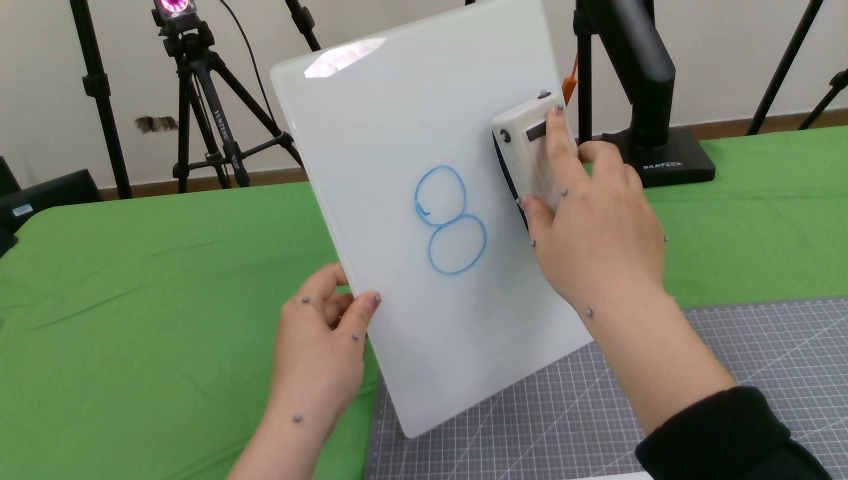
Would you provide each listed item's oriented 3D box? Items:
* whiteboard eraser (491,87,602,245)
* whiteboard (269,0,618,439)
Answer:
[{"bbox_3d":[0.094,-0.056,0.468,0.055,0.113,0.041,-29,18,-15],"label":"whiteboard eraser"},{"bbox_3d":[0.013,-0.032,0.532,0.217,0.307,0.143,-23,19,-17],"label":"whiteboard"}]
